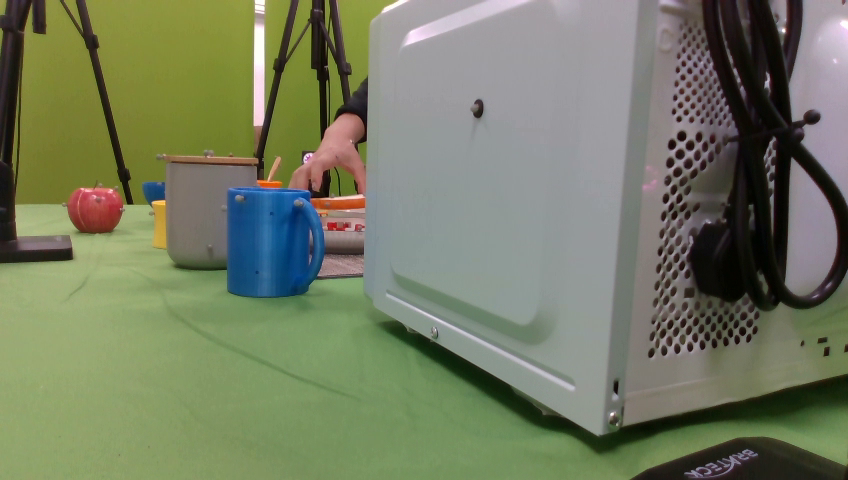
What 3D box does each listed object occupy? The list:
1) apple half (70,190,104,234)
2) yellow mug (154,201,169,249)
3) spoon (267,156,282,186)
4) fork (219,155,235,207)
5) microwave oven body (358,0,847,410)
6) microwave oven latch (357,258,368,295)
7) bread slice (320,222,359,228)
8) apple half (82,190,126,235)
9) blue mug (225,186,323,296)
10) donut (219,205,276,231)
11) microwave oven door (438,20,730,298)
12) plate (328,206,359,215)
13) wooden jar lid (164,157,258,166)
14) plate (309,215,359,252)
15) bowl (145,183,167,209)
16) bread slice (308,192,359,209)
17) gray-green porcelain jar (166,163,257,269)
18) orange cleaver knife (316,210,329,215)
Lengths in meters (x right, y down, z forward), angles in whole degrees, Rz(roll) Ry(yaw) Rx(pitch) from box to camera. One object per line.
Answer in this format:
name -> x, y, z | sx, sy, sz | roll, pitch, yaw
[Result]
apple half -> -0.552, -0.047, 1.009 | 0.053, 0.074, 0.081 | -1, 9, 26
yellow mug -> -0.338, -0.022, 0.899 | 0.130, 0.064, 0.100 | 8, 9, 34
spoon -> -0.391, -0.150, 1.548 | 0.041, 0.193, 0.021 | 3, -37, 8
fork -> -0.459, -0.134, 1.415 | 0.028, 0.018, 0.207 | -1, -34, -24
microwave oven body -> 0.210, -0.051, 0.471 | 0.444, 0.260, 0.324 | -1, 7, -28
microwave oven latch -> -0.019, 0.031, 0.529 | 0.079, 0.029, 0.030 | -1, 7, -26
bread slice -> -0.124, -0.011, 0.939 | 0.131, 0.019, 0.105 | 8, 10, 32
apple half -> -0.517, -0.046, 0.994 | 0.032, 0.081, 0.081 | 0, 6, 26
blue mug -> -0.148, 0.000, 0.618 | 0.116, 0.106, 0.083 | 7, 9, 33
donut -> -0.316, -0.039, 1.083 | 0.099, 0.048, 0.099 | 3, 6, 0
microwave oven door -> 0.181, -0.076, 0.618 | 0.358, 0.243, 0.039 | -2, 8, -28
plate -> -0.102, -0.053, 1.299 | 0.209, 0.038, 0.209 | 2, 8, 0
wooden jar lid -> -0.261, -0.093, 0.746 | 0.108, 0.020, 0.108 | 0, 9, 0
plate -> -0.130, -0.011, 0.945 | 0.208, 0.039, 0.207 | 2, 7, 0
bowl -> -0.459, -0.068, 1.175 | 0.151, 0.077, 0.151 | 3, 7, 0
bread slice -> -0.137, -0.062, 0.937 | 0.107, 0.018, 0.133 | -11, 10, -41
gray-green porcelain jar -> -0.263, -0.031, 0.754 | 0.106, 0.126, 0.106 | 2, 7, 0
orange cleaver knife -> -0.259, -0.064, 1.423 | 0.212, 0.012, 0.077 | -4, 3, -30
